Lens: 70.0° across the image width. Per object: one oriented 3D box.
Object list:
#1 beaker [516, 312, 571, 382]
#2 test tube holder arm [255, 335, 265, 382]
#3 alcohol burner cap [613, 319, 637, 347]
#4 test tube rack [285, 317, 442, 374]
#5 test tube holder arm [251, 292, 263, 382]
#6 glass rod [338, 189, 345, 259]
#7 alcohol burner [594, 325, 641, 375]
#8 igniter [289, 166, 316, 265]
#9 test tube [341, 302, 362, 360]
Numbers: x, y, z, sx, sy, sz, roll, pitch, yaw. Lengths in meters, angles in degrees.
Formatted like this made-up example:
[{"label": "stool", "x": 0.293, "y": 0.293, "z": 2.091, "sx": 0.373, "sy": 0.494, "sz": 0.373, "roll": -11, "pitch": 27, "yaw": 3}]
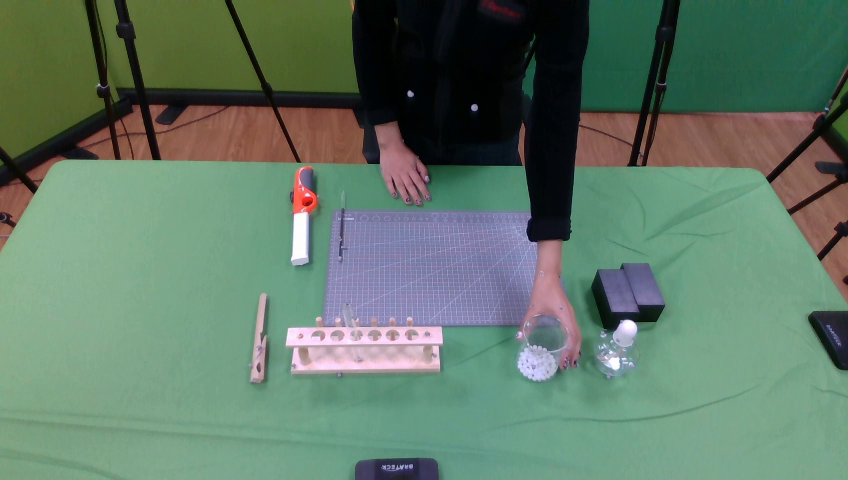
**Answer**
[{"label": "beaker", "x": 0.190, "y": 0.180, "z": 0.985, "sx": 0.073, "sy": 0.101, "sz": 0.084, "roll": 30, "pitch": 52, "yaw": 24}, {"label": "test tube holder arm", "x": -0.270, "y": 0.193, "z": 0.997, "sx": 0.010, "sy": 0.015, "sz": 0.087, "roll": 24, "pitch": 36, "yaw": -32}, {"label": "alcohol burner cap", "x": 0.323, "y": 0.146, "z": 0.967, "sx": 0.034, "sy": 0.048, "sz": 0.033, "roll": -1, "pitch": 52, "yaw": 2}, {"label": "test tube rack", "x": -0.095, "y": 0.166, "z": 0.988, "sx": 0.242, "sy": 0.085, "sz": 0.066, "roll": 0, "pitch": 46, "yaw": -4}, {"label": "test tube holder arm", "x": -0.282, "y": 0.159, "z": 1.025, "sx": 0.013, "sy": 0.015, "sz": 0.177, "roll": 23, "pitch": 36, "yaw": -33}, {"label": "glass rod", "x": -0.166, "y": -0.037, "z": 1.227, "sx": 0.008, "sy": 0.008, "sz": 0.198, "roll": -1, "pitch": 47, "yaw": -4}, {"label": "alcohol burner", "x": 0.322, "y": 0.170, "z": 0.994, "sx": 0.078, "sy": 0.119, "sz": 0.077, "roll": 3, "pitch": 48, "yaw": -3}, {"label": "igniter", "x": -0.248, "y": -0.058, "z": 1.233, "sx": 0.057, "sy": 0.025, "sz": 0.274, "roll": -9, "pitch": 47, "yaw": 1}, {"label": "test tube", "x": -0.111, "y": 0.145, "z": 0.938, "sx": 0.017, "sy": 0.151, "sz": 0.017, "roll": -1, "pitch": 50, "yaw": 2}]
